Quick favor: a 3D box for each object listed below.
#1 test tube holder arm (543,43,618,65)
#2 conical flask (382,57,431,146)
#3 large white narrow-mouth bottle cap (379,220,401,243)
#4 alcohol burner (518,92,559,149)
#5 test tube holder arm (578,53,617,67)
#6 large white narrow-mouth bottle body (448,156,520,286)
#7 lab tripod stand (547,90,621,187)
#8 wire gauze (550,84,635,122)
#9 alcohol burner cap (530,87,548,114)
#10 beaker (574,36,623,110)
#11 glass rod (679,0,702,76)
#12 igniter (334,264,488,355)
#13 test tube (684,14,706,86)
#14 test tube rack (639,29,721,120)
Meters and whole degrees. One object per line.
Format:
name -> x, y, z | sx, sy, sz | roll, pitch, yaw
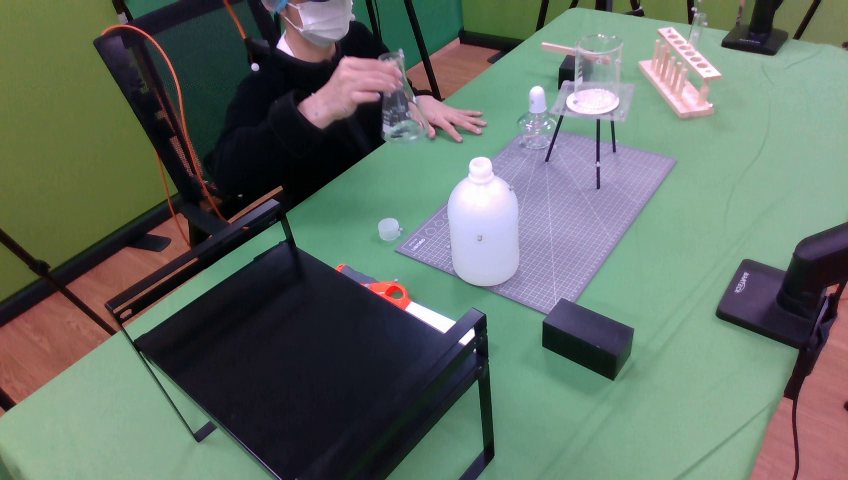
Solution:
test tube holder arm -> 0.345, -0.413, 1.341 | 0.177, 0.015, 0.013 | 25, 50, 31
conical flask -> -0.034, -0.210, 0.910 | 0.075, 0.122, 0.075 | -7, 36, 6
large white narrow-mouth bottle cap -> -0.057, -0.015, 1.011 | 0.038, 0.024, 0.037 | -4, 40, 4
alcohol burner -> 0.218, -0.235, 1.149 | 0.078, 0.119, 0.077 | -5, 43, 5
test tube holder arm -> 0.376, -0.393, 1.314 | 0.087, 0.015, 0.010 | 26, 51, 32
large white narrow-mouth bottle body -> 0.086, -0.032, 0.869 | 0.102, 0.195, 0.101 | -4, 40, 4
lab tripod stand -> 0.289, -0.184, 1.062 | 0.148, 0.132, 0.147 | -6, 41, 6
wire gauze -> 0.285, -0.234, 1.021 | 0.124, 0.011, 0.121 | 8, 41, 23
alcohol burner cap -> 0.212, -0.262, 1.126 | 0.034, 0.048, 0.033 | -9, 36, 7
beaker -> 0.285, -0.273, 0.990 | 0.073, 0.101, 0.084 | 15, 46, 27
glass rod -> 0.543, -0.417, 1.233 | 0.008, 0.200, 0.008 | 1, 39, 0
igniter -> -0.030, 0.094, 0.872 | 0.274, 0.025, 0.057 | 22, 59, 31
test tube -> 0.540, -0.378, 1.215 | 0.017, 0.151, 0.017 | -2, 44, 3
test tube rack -> 0.527, -0.351, 1.262 | 0.067, 0.085, 0.241 | -8, 40, 1
